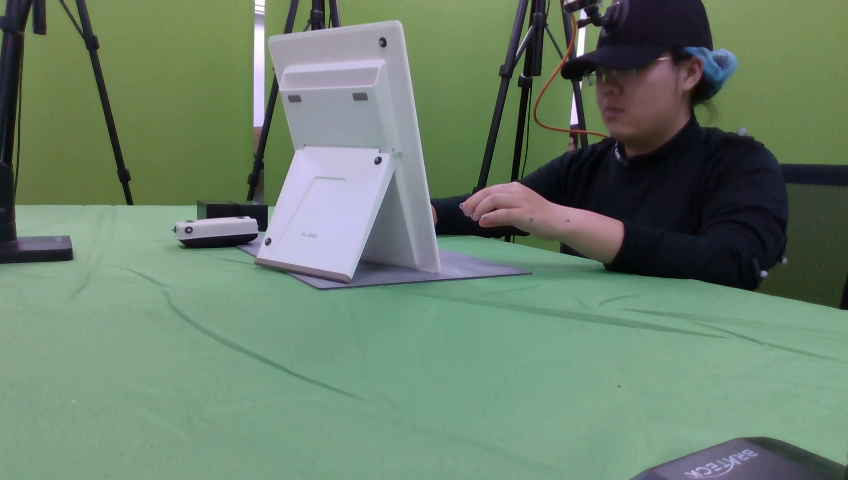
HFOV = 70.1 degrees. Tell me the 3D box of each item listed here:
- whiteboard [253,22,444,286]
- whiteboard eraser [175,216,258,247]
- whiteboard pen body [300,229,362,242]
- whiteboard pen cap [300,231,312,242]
[{"bbox_3d":[-0.125,-0.081,0.715,0.216,0.305,0.144,9,29,36],"label":"whiteboard"},{"bbox_3d":[-0.313,-0.012,0.915,0.113,0.042,0.055,-5,12,-30],"label":"whiteboard eraser"},{"bbox_3d":[-0.154,-0.007,1.017,0.017,0.017,0.141,8,9,35],"label":"whiteboard pen body"},{"bbox_3d":[-0.188,-0.004,0.965,0.018,0.018,0.033,1,5,-11],"label":"whiteboard pen cap"}]
